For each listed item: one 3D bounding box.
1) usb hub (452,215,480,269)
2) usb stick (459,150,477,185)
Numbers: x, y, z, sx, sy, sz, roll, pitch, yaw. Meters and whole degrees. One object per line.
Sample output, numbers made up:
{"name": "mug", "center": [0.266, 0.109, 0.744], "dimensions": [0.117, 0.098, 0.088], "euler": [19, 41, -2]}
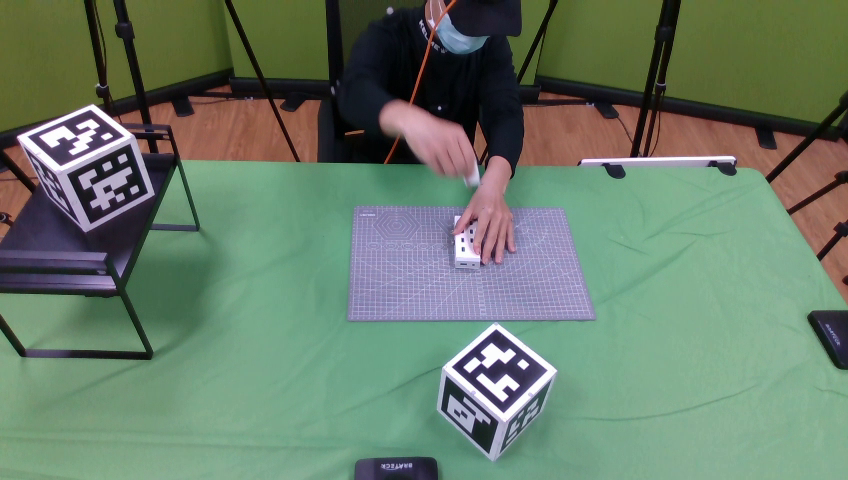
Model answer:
{"name": "usb hub", "center": [0.083, 0.003, 1.196], "dimensions": [0.049, 0.025, 0.124], "euler": [4, 46, -3]}
{"name": "usb stick", "center": [0.076, -0.122, 1.034], "dimensions": [0.027, 0.059, 0.021], "euler": [-7, 33, 4]}
